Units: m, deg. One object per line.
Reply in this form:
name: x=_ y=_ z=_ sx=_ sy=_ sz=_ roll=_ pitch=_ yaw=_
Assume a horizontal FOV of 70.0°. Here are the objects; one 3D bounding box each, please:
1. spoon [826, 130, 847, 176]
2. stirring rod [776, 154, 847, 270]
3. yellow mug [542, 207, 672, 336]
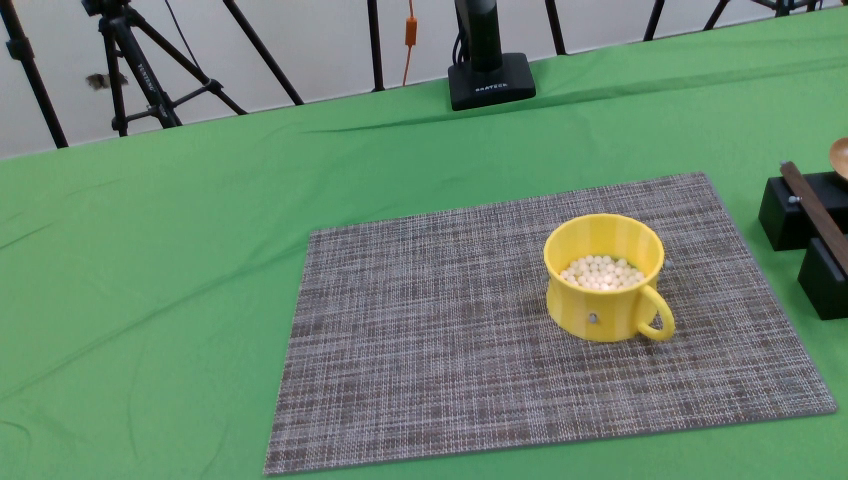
spoon: x=0.393 y=-0.027 z=0.504 sx=0.041 sy=0.022 sz=0.191 roll=-8 pitch=45 yaw=6
stirring rod: x=0.338 y=-0.019 z=0.512 sx=0.014 sy=0.006 sz=0.174 roll=-39 pitch=32 yaw=32
yellow mug: x=0.166 y=0.035 z=0.533 sx=0.100 sy=0.064 sz=0.129 roll=-30 pitch=46 yaw=-16
